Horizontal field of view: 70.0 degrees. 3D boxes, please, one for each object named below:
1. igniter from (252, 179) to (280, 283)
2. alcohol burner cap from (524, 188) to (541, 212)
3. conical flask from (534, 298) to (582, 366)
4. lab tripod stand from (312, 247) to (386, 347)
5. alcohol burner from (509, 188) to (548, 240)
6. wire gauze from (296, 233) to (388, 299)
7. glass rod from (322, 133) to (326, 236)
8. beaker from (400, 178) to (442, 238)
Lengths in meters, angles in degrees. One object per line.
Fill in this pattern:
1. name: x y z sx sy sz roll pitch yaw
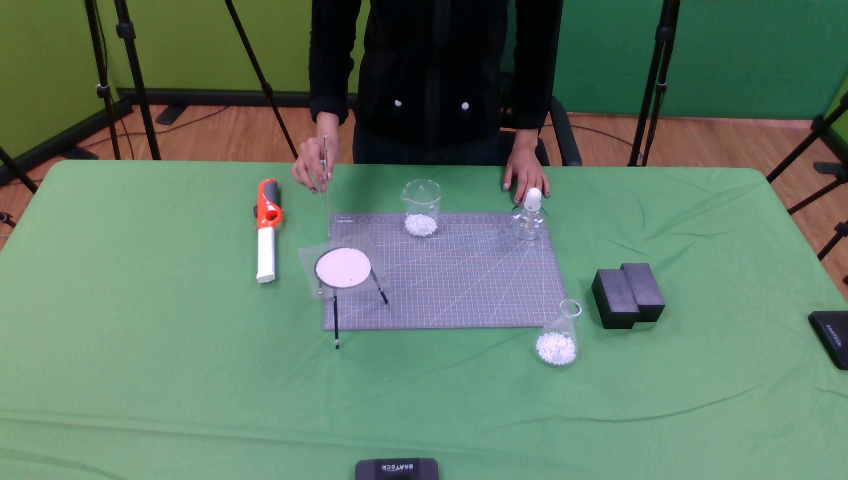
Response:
1. igniter: -0.312 -0.027 1.197 0.057 0.025 0.274 -12 47 -1
2. alcohol burner cap: 0.212 -0.081 1.177 0.034 0.048 0.033 -2 54 3
3. conical flask: 0.229 0.149 1.005 0.075 0.122 0.075 2 46 -2
4. lab tripod stand: -0.134 0.085 1.028 0.148 0.132 0.147 2 45 -1
5. alcohol burner: 0.211 -0.057 1.204 0.078 0.120 0.077 1 47 -1
6. wire gauze: -0.133 0.041 0.977 0.125 0.011 0.120 -12 47 -16
7. glass rod: -0.185 -0.099 1.122 0.008 0.200 0.008 3 24 -1
8. beaker: -0.009 -0.059 1.200 0.084 0.101 0.073 -14 48 -17
